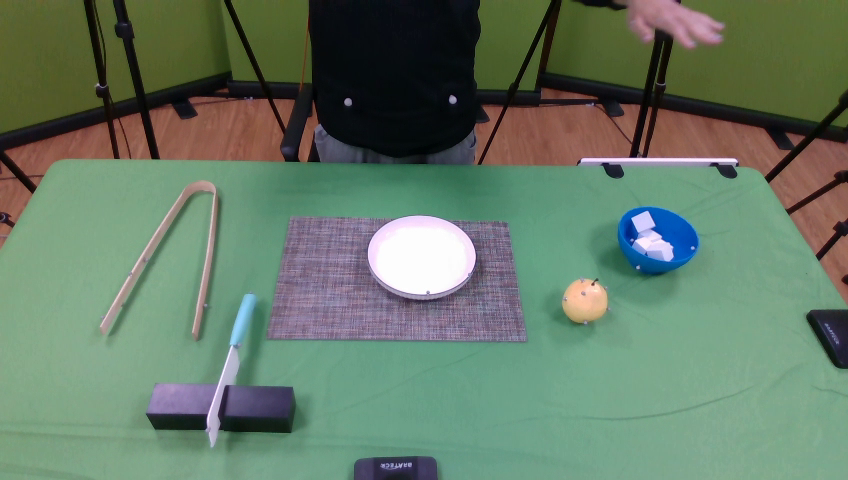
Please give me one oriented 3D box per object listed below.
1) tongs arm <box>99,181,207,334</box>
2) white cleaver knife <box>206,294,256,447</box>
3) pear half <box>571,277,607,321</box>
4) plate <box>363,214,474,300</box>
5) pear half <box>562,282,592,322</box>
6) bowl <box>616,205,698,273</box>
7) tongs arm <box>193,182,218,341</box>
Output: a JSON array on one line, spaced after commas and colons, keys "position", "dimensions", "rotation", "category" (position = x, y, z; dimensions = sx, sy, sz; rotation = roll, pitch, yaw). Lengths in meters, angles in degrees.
[{"position": [-0.494, 0.018, 1.132], "dimensions": [0.051, 0.026, 0.382], "rotation": [7, 45, 0], "category": "tongs arm"}, {"position": [-0.305, 0.191, 0.956], "dimensions": [0.021, 0.066, 0.284], "rotation": [6, 36, -4], "category": "white cleaver knife"}, {"position": [0.297, 0.094, 1.069], "dimensions": [0.056, 0.110, 0.076], "rotation": [-20, 61, -21], "category": "pear half"}, {"position": [-0.010, 0.036, 1.146], "dimensions": [0.208, 0.039, 0.206], "rotation": [3, 46, -3], "category": "plate"}, {"position": [0.264, 0.111, 1.065], "dimensions": [0.031, 0.088, 0.070], "rotation": [-20, 60, -21], "category": "pear half"}, {"position": [0.443, 0.011, 1.182], "dimensions": [0.151, 0.077, 0.150], "rotation": [2, 46, -2], "category": "bowl"}, {"position": [-0.413, 0.024, 1.140], "dimensions": [0.028, 0.028, 0.385], "rotation": [-5, 47, -7], "category": "tongs arm"}]
